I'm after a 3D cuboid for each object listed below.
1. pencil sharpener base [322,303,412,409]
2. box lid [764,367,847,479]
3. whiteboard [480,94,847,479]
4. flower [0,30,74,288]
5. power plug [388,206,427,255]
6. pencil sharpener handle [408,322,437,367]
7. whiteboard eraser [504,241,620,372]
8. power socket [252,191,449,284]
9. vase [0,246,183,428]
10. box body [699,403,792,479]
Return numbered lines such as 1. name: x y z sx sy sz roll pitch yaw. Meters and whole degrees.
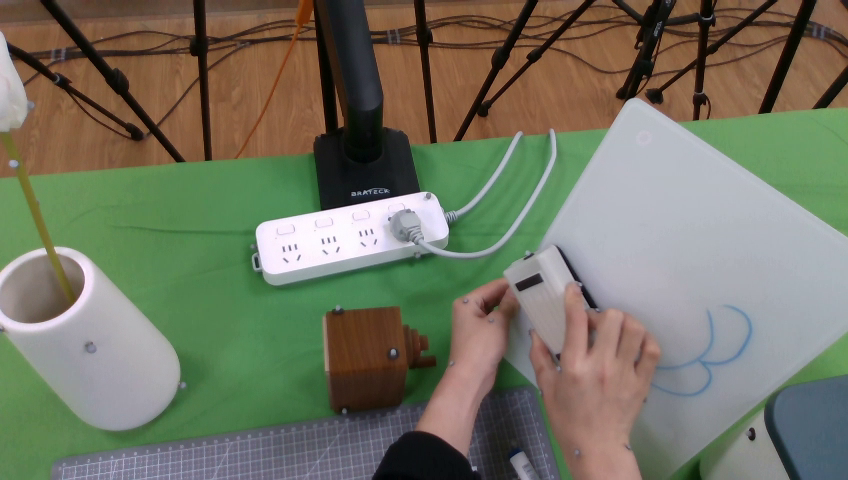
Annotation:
1. pencil sharpener base: -0.052 0.110 0.565 0.077 0.108 0.061 -4 57 -9
2. box lid: 0.417 0.249 0.400 0.264 0.015 0.367 -7 58 -10
3. whiteboard: 0.226 0.041 0.556 0.215 0.307 0.144 42 44 21
4. flower: -0.263 0.025 0.445 0.038 0.365 0.043 -17 42 -24
5. power plug: -0.019 -0.004 0.658 0.035 0.053 0.072 -3 59 -7
6. pencil sharpener handle: -0.001 0.100 0.562 0.031 0.068 0.035 -4 56 -9
7. whiteboard eraser: 0.123 0.059 0.537 0.042 0.055 0.112 -30 89 -48
8. power socket: -0.079 -0.005 0.680 0.227 0.033 0.071 -11 60 -13
9. vase: -0.273 0.085 0.503 0.098 0.201 0.097 2 57 -3
10. box body: 0.411 0.292 0.462 0.255 0.161 0.360 -7 58 -10
